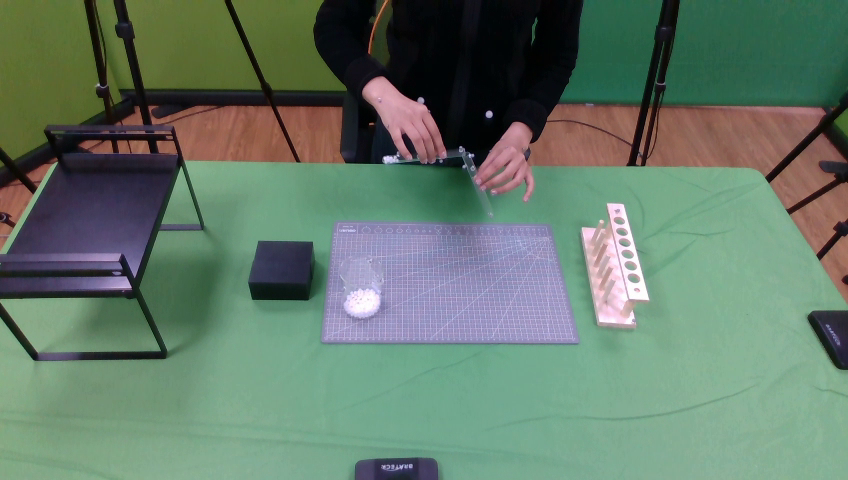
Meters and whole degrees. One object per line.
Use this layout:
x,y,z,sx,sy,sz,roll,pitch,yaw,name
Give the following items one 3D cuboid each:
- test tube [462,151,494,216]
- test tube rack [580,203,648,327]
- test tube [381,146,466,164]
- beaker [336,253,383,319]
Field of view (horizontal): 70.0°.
0.101,-0.102,1.121,0.017,0.151,0.017,-17,39,14,test tube
0.352,0.041,1.143,0.067,0.085,0.241,4,46,0,test tube rack
-0.001,-0.150,1.070,0.150,0.017,0.017,-7,47,-2,test tube
-0.108,0.084,1.051,0.084,0.101,0.074,25,50,17,beaker
